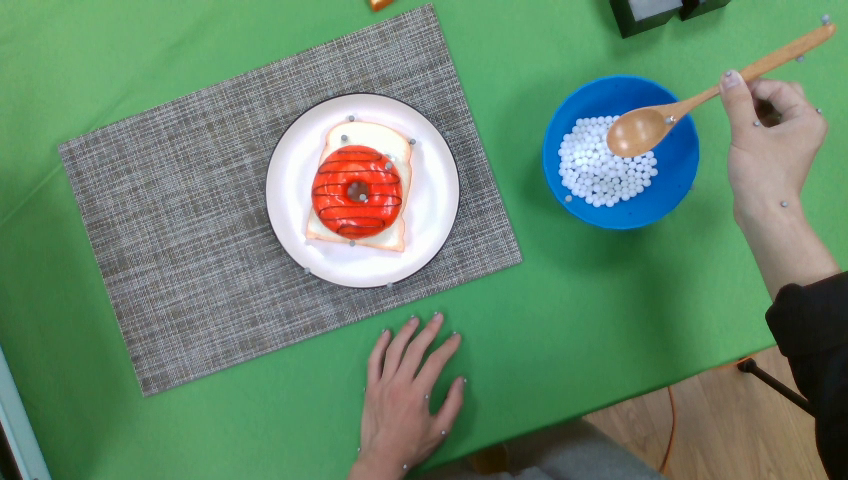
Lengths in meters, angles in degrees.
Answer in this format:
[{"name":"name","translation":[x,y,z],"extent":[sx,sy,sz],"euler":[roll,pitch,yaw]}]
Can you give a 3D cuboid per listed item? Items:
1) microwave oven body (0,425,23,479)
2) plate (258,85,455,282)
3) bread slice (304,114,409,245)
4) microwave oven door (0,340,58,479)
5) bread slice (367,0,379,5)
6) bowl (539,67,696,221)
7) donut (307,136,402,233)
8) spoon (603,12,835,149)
[{"name":"microwave oven body","translation":[-0.633,0.154,0.568],"extent":[0.326,0.260,0.441],"euler":[-22,90,2]},{"name":"plate","translation":[-0.070,-0.059,0.651],"extent":[0.207,0.039,0.207],"euler":[0,91,2]},{"name":"bread slice","translation":[-0.070,-0.066,0.651],"extent":[0.107,0.018,0.134],"euler":[5,92,2]},{"name":"microwave oven door","translation":[-0.482,0.139,0.556],"extent":[0.039,0.244,0.355],"euler":[-22,89,3]},{"name":"bread slice","translation":[-0.052,-0.339,0.660],"extent":[0.105,0.019,0.131],"euler":[-34,90,1]},{"name":"bowl","translation":[0.189,-0.093,0.623],"extent":[0.151,0.077,0.151],"euler":[0,90,2]},{"name":"donut","translation":[-0.071,-0.057,0.623],"extent":[0.099,0.048,0.099],"euler":[0,91,3]},{"name":"spoon","translation":[0.244,-0.133,0.518],"extent":[0.193,0.022,0.041],"euler":[-27,87,37]}]
